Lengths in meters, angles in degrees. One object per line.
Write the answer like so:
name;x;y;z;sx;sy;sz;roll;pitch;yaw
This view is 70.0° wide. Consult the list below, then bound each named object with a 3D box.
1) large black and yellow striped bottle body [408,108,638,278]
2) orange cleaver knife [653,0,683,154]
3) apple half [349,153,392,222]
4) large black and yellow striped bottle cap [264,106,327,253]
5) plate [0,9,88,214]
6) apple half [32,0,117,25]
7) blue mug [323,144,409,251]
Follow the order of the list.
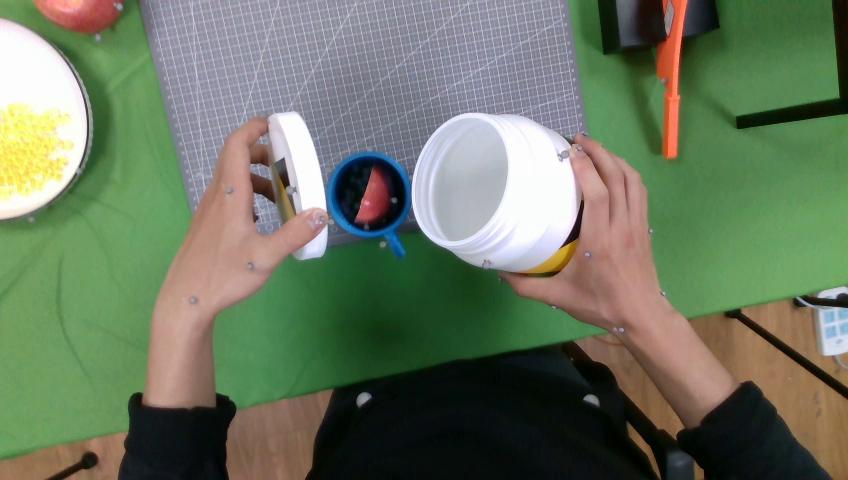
large black and yellow striped bottle body;0.088;-0.038;0.535;0.185;0.129;0.131;11;97;-43
orange cleaver knife;0.260;-0.198;0.652;0.012;0.076;0.213;-9;125;5
apple half;-0.048;-0.050;0.622;0.033;0.081;0.081;20;95;1
large black and yellow striped bottle cap;-0.102;-0.046;0.473;0.019;0.114;0.115;-15;99;-18
plate;-0.446;-0.130;0.614;0.209;0.038;0.209;-1;98;-5
apple half;-0.341;-0.239;0.592;0.081;0.074;0.053;-8;102;-8
blue mug;-0.052;-0.041;0.628;0.082;0.105;0.117;-27;99;-1
